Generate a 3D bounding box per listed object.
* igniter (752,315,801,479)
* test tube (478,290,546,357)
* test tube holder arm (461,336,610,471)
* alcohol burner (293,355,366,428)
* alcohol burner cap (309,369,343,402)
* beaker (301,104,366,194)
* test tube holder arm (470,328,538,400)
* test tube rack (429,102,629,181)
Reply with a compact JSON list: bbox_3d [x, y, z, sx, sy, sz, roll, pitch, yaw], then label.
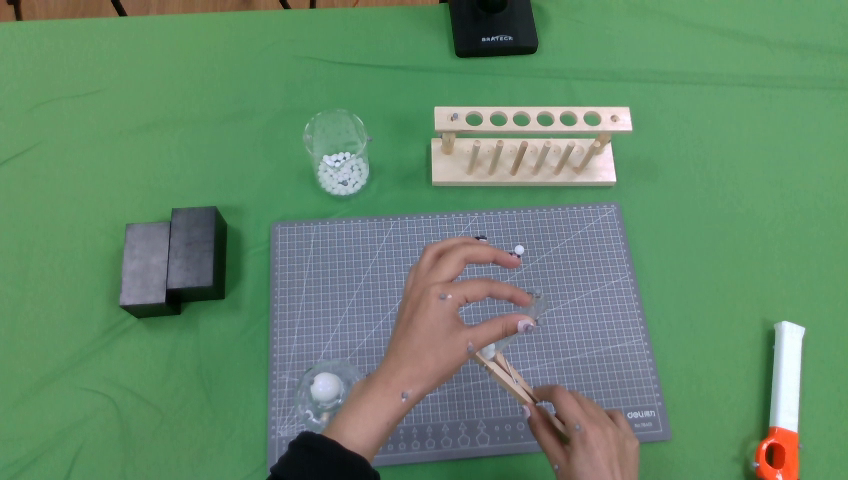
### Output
[{"bbox_3d":[0.400,0.218,0.684,0.057,0.025,0.275,19,69,-5],"label":"igniter"},{"bbox_3d":[0.074,0.080,0.547,0.017,0.151,0.017,6,61,-12],"label":"test tube"},{"bbox_3d":[0.106,0.158,0.587,0.177,0.015,0.013,42,57,11],"label":"test tube holder arm"},{"bbox_3d":[-0.100,0.155,0.635,0.078,0.120,0.077,2,67,-3],"label":"alcohol burner"},{"bbox_3d":[-0.099,0.143,0.600,0.034,0.048,0.033,1,73,-2],"label":"alcohol burner cap"},{"bbox_3d":[-0.108,-0.106,0.748,0.074,0.101,0.083,-1,69,-3],"label":"beaker"},{"bbox_3d":[0.079,0.124,0.600,0.010,0.015,0.087,-31,72,-31],"label":"test tube holder arm"},{"bbox_3d":[0.129,-0.124,0.774,0.242,0.085,0.066,0,69,-3],"label":"test tube rack"}]
